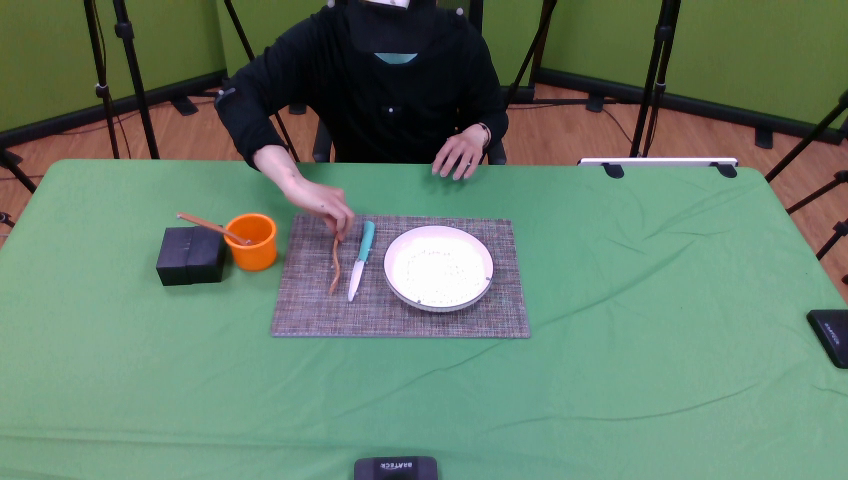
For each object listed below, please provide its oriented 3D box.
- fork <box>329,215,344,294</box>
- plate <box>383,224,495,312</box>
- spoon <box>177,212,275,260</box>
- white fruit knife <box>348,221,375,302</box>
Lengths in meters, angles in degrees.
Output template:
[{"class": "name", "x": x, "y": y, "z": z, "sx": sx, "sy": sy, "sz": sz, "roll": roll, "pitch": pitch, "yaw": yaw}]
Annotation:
[{"class": "fork", "x": -0.165, "y": 0.021, "z": 1.157, "sx": 0.019, "sy": 0.028, "sz": 0.206, "roll": 8, "pitch": 43, "yaw": -12}, {"class": "plate", "x": 0.026, "y": 0.055, "z": 1.128, "sx": 0.209, "sy": 0.038, "sz": 0.208, "roll": 2, "pitch": 46, "yaw": -2}, {"class": "spoon", "x": -0.353, "y": -0.009, "z": 1.093, "sx": 0.021, "sy": 0.195, "sz": 0.041, "roll": -35, "pitch": 44, "yaw": 24}, {"class": "white fruit knife", "x": -0.119, "y": 0.037, "z": 1.153, "sx": 0.027, "sy": 0.016, "sz": 0.206, "roll": -15, "pitch": 43, "yaw": 24}]
